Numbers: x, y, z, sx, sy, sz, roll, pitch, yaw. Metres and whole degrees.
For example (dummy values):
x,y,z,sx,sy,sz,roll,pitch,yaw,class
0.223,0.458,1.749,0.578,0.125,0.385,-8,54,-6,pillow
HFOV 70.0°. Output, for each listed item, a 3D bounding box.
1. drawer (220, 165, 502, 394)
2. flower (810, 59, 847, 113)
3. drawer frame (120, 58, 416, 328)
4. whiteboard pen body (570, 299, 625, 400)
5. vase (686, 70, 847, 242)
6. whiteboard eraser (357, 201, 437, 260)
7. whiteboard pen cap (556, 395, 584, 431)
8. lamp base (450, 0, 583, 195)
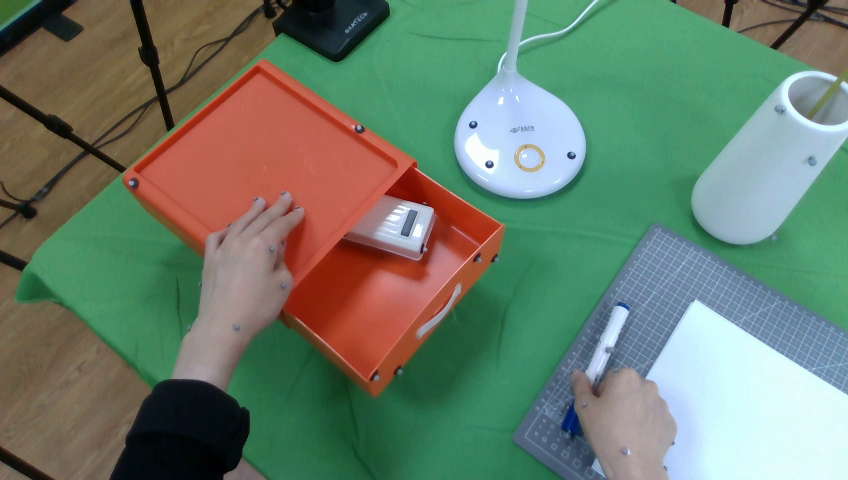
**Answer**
x,y,z,sx,sy,sz,roll,pitch,yaw,class
-0.065,0.008,0.592,0.210,0.074,0.194,36,69,17,drawer
0.357,-0.127,0.547,0.038,0.364,0.044,21,47,4,flower
-0.151,-0.053,0.621,0.212,0.083,0.201,35,69,14,drawer frame
0.171,0.120,0.610,0.017,0.017,0.140,26,68,14,whiteboard pen body
0.343,-0.079,0.615,0.098,0.201,0.097,-1,61,2,vase
-0.040,-0.011,0.642,0.112,0.042,0.055,6,68,36,whiteboard eraser
0.143,0.168,0.589,0.018,0.018,0.033,27,67,14,whiteboard pen cap
0.106,-0.169,0.674,0.161,0.182,0.177,-18,61,-8,lamp base
